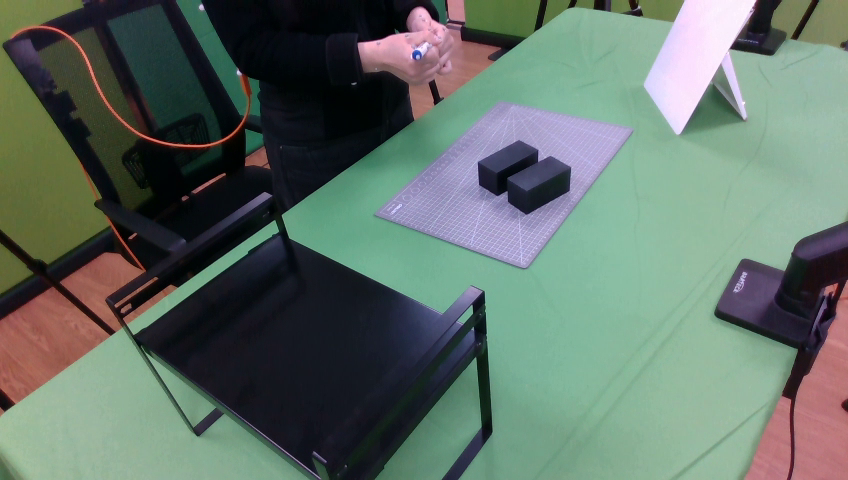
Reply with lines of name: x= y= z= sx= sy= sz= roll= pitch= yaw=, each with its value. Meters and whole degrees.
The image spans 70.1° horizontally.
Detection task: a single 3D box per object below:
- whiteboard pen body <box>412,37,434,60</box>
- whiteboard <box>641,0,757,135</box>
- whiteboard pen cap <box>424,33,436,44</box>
whiteboard pen body: x=0.001 y=-0.310 z=0.969 sx=0.017 sy=0.017 sz=0.140 roll=1 pitch=28 yaw=10
whiteboard: x=0.575 y=-0.367 z=1.147 sx=0.144 sy=0.305 sz=0.216 roll=10 pitch=39 yaw=-9
whiteboard pen cap: x=0.010 y=-0.338 z=1.020 sx=0.018 sy=0.018 sz=0.033 roll=0 pitch=30 yaw=9
